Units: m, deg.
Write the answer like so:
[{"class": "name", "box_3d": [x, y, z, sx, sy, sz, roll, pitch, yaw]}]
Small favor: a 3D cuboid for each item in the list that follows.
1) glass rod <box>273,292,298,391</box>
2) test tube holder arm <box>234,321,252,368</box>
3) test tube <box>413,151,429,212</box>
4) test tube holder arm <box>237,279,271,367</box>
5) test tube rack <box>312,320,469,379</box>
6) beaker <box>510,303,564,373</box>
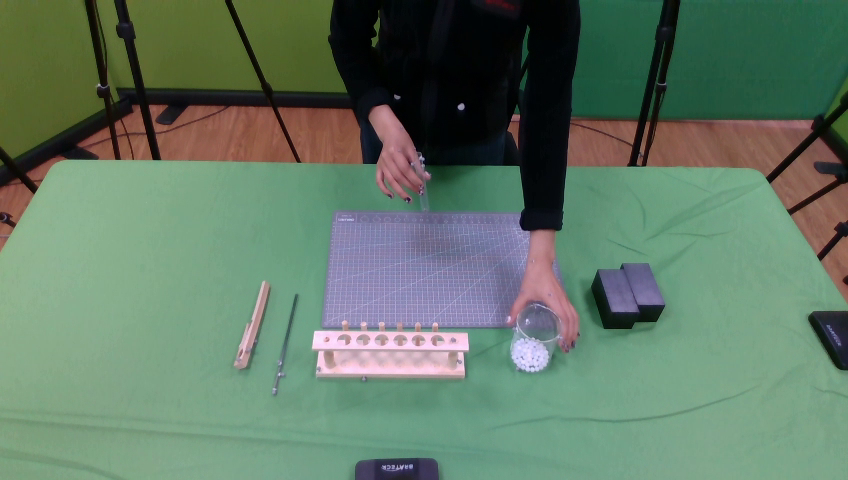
[{"class": "glass rod", "box_3d": [-0.234, 0.167, 1.030, 0.008, 0.008, 0.198, 3, 46, 0]}, {"class": "test tube holder arm", "box_3d": [-0.299, 0.173, 1.012, 0.010, 0.015, 0.087, -16, 42, 22]}, {"class": "test tube", "box_3d": [-0.005, -0.106, 1.133, 0.017, 0.151, 0.017, -4, 50, 4]}, {"class": "test tube holder arm", "box_3d": [-0.290, 0.139, 1.041, 0.013, 0.015, 0.177, -16, 42, 22]}, {"class": "test tube rack", "box_3d": [-0.053, 0.173, 0.984, 0.242, 0.085, 0.066, 1, 46, -3]}, {"class": "beaker", "box_3d": [0.182, 0.164, 1.000, 0.074, 0.101, 0.083, 3, 45, -1]}]
